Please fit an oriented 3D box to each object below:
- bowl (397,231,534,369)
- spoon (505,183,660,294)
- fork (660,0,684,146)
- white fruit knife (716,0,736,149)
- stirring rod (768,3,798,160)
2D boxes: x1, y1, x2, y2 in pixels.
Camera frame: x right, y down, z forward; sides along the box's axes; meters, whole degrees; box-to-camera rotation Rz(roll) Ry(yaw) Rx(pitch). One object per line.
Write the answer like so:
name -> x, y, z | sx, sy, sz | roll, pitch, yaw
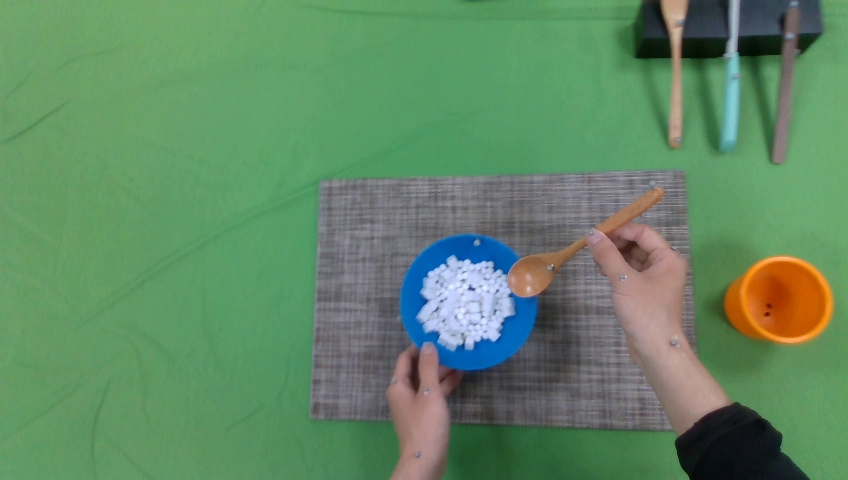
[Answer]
bowl -> 0.049, 0.071, 0.691 | 0.151, 0.077, 0.150 | -1, 79, 7
spoon -> 0.148, 0.002, 0.588 | 0.194, 0.022, 0.041 | -40, 79, 45
fork -> 0.292, -0.215, 0.714 | 0.028, 0.018, 0.208 | -3, 99, 5
white fruit knife -> 0.354, -0.212, 0.704 | 0.016, 0.027, 0.207 | 0, 96, 4
stirring rod -> 0.416, -0.182, 0.702 | 0.014, 0.006, 0.176 | 2, 100, 5
